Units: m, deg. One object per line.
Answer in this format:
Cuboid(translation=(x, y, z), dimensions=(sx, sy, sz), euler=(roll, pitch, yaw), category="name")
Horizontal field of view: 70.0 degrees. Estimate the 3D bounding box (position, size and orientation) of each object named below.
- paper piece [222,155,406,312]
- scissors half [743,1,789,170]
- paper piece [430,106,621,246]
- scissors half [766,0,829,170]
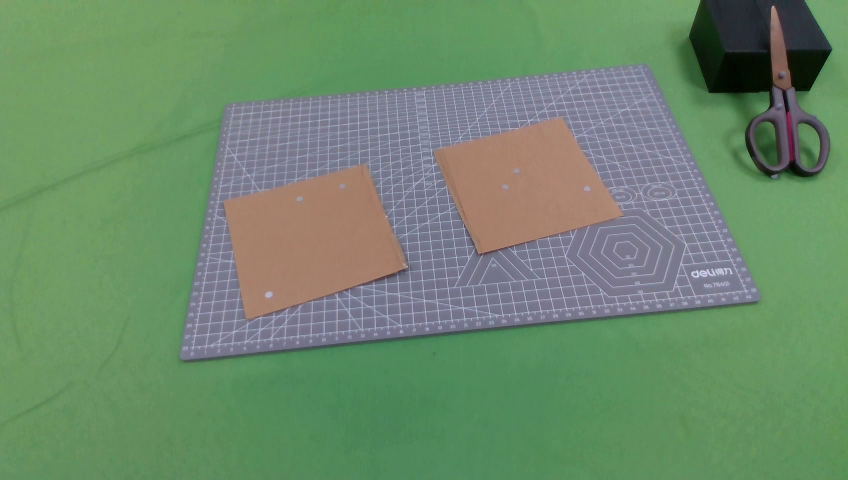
Cuboid(translation=(-0.100, -0.013, 0.526), dimensions=(0.138, 0.009, 0.134), euler=(-18, 50, -7), category="paper piece")
Cuboid(translation=(0.320, -0.149, 0.562), dimensions=(0.040, 0.013, 0.174), euler=(12, 76, -1), category="scissors half")
Cuboid(translation=(0.088, -0.063, 0.551), dimensions=(0.136, 0.004, 0.134), euler=(-15, 55, -7), category="paper piece")
Cuboid(translation=(0.340, -0.148, 0.562), dimensions=(0.040, 0.013, 0.174), euler=(-6, 77, 0), category="scissors half")
